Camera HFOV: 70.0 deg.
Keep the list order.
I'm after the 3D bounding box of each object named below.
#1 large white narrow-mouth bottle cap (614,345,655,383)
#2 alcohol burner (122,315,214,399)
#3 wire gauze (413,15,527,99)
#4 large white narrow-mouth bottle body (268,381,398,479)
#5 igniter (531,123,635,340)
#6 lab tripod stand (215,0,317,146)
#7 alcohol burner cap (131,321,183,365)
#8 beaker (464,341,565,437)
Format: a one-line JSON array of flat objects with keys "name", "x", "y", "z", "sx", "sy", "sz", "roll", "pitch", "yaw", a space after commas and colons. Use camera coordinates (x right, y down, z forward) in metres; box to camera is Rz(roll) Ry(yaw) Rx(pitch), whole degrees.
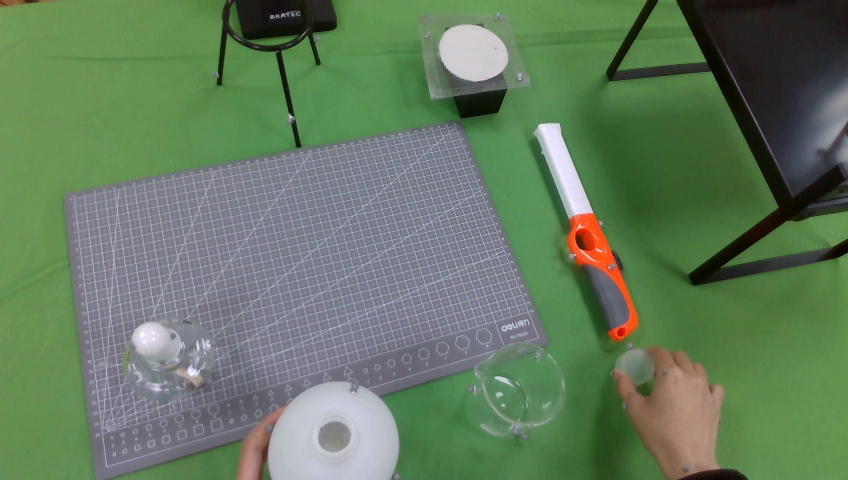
[{"name": "large white narrow-mouth bottle cap", "x": 0.218, "y": 0.129, "z": 0.630, "sx": 0.038, "sy": 0.024, "sz": 0.037, "roll": 3, "pitch": 64, "yaw": -7}, {"name": "alcohol burner", "x": -0.229, "y": 0.098, "z": 0.534, "sx": 0.078, "sy": 0.120, "sz": 0.077, "roll": 4, "pitch": 63, "yaw": -8}, {"name": "wire gauze", "x": 0.054, "y": -0.227, "z": 0.734, "sx": 0.122, "sy": 0.011, "sz": 0.124, "roll": -6, "pitch": 66, "yaw": -11}, {"name": "large white narrow-mouth bottle body", "x": -0.072, "y": 0.168, "z": 0.485, "sx": 0.102, "sy": 0.196, "sz": 0.101, "roll": 3, "pitch": 64, "yaw": -6}, {"name": "igniter", "x": 0.182, "y": -0.018, "z": 0.702, "sx": 0.057, "sy": 0.025, "sz": 0.274, "roll": -7, "pitch": 67, "yaw": -23}, {"name": "lab tripod stand", "x": -0.167, "y": -0.199, "z": 0.672, "sx": 0.149, "sy": 0.132, "sz": 0.147, "roll": 4, "pitch": 65, "yaw": -9}, {"name": "alcohol burner cap", "x": -0.223, "y": 0.084, "z": 0.501, "sx": 0.034, "sy": 0.048, "sz": 0.033, "roll": 2, "pitch": 71, "yaw": -6}, {"name": "beaker", "x": 0.077, "y": 0.144, "z": 0.573, "sx": 0.084, "sy": 0.101, "sz": 0.073, "roll": 18, "pitch": 64, "yaw": 1}]
